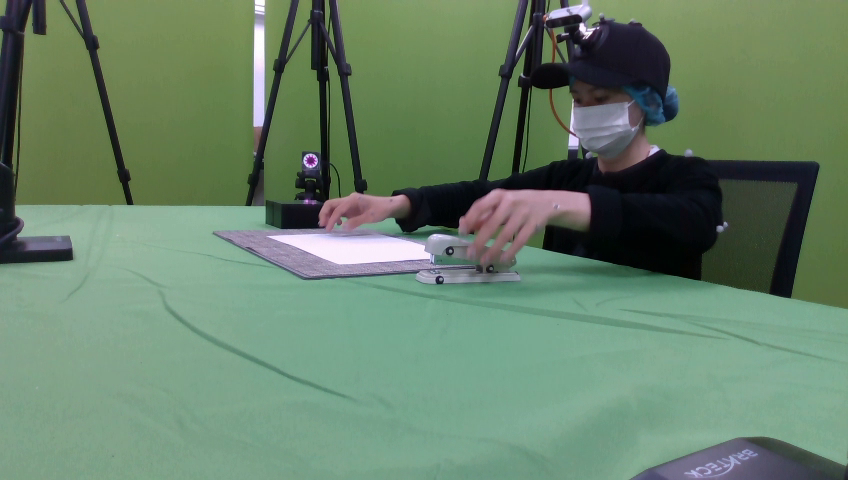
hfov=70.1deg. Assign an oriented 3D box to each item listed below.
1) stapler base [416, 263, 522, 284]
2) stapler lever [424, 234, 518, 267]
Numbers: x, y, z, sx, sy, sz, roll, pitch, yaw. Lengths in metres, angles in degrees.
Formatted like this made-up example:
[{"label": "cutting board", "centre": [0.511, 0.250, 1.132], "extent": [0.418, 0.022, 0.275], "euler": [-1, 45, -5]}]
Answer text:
[{"label": "stapler base", "centre": [0.055, 0.038, 0.733], "extent": [0.131, 0.024, 0.041], "euler": [1, 8, -23]}, {"label": "stapler lever", "centre": [0.057, 0.014, 0.731], "extent": [0.118, 0.040, 0.026], "euler": [0, 9, -23]}]
